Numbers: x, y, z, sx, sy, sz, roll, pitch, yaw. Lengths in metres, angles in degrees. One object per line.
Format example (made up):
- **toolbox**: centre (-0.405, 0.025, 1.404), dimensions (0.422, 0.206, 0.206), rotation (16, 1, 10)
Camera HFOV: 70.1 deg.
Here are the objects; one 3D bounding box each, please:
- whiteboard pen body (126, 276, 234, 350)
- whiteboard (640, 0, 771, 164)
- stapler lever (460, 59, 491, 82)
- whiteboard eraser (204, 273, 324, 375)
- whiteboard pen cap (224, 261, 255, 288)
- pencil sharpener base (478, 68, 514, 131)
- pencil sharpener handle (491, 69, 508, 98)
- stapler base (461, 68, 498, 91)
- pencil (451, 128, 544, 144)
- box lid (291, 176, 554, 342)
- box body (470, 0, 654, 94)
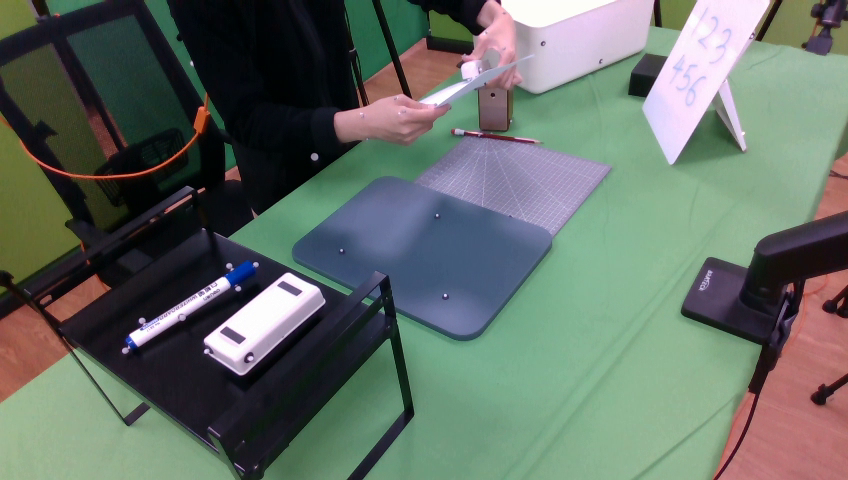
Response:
- **whiteboard pen body**: centre (-0.251, 0.070, 0.649), dimensions (0.141, 0.017, 0.017), rotation (-36, 48, -26)
- **whiteboard**: centre (0.543, -0.299, 1.076), dimensions (0.144, 0.305, 0.216), rotation (12, 40, -7)
- **stapler lever**: centre (0.088, -0.294, 1.032), dimensions (0.026, 0.040, 0.118), rotation (-7, 28, 21)
- **whiteboard eraser**: centre (-0.157, 0.084, 0.605), dimensions (0.055, 0.042, 0.113), rotation (24, 49, 30)
- **whiteboard pen cap**: centre (-0.207, 0.039, 0.677), dimensions (0.033, 0.018, 0.018), rotation (-36, 47, -18)
- **pencil sharpener base**: centre (0.148, -0.286, 1.225), dimensions (0.061, 0.107, 0.076), rotation (5, 41, 15)
- **pencil sharpener handle**: centre (0.155, -0.329, 1.254), dimensions (0.036, 0.068, 0.030), rotation (17, 43, 3)
- **stapler base**: centre (0.093, -0.279, 1.036), dimensions (0.041, 0.024, 0.131), rotation (-7, 19, 21)
- **pencil**: centre (0.145, -0.206, 1.204), dimensions (0.193, 0.012, 0.012), rotation (12, 44, 21)
- **box lid**: centre (-0.005, 0.011, 0.972), dimensions (0.368, 0.015, 0.264), rotation (21, 49, 30)
- **box body**: centre (0.319, -0.498, 1.405), dimensions (0.365, 0.161, 0.252), rotation (-26, 43, -21)
